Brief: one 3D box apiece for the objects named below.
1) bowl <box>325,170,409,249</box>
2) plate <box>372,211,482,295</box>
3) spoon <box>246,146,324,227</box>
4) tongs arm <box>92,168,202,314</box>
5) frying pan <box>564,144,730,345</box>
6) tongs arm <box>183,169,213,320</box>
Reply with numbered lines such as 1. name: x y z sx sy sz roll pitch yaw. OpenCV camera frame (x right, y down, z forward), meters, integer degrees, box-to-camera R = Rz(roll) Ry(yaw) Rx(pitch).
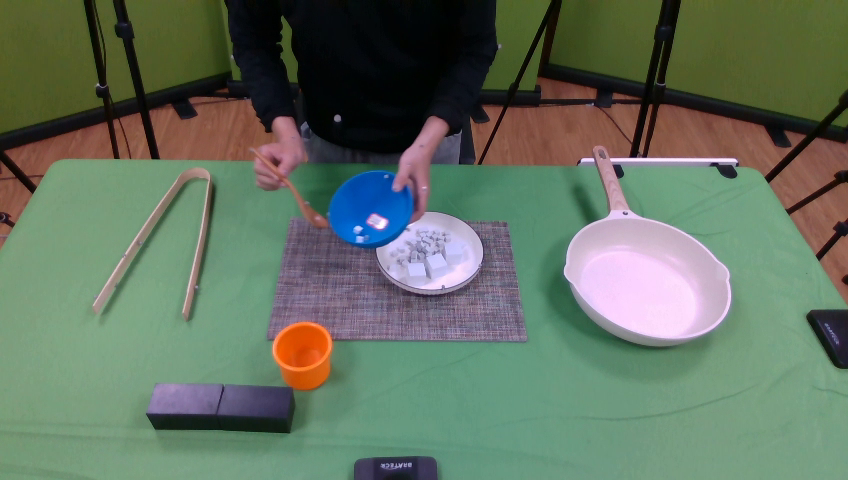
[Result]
1. bowl: -0.092 -0.041 1.077 0.151 0.077 0.150 -5 61 10
2. plate: 0.005 0.028 1.156 0.208 0.039 0.206 2 46 -2
3. spoon: -0.247 -0.095 1.084 0.021 0.194 0.041 -29 24 18
4. tongs arm: -0.518 -0.012 1.160 0.051 0.026 0.382 7 45 1
5. frying pan: 0.396 -0.008 1.179 0.307 0.103 0.484 0 55 -5
6. tongs arm: -0.436 -0.006 1.166 0.028 0.028 0.385 -5 46 -6
